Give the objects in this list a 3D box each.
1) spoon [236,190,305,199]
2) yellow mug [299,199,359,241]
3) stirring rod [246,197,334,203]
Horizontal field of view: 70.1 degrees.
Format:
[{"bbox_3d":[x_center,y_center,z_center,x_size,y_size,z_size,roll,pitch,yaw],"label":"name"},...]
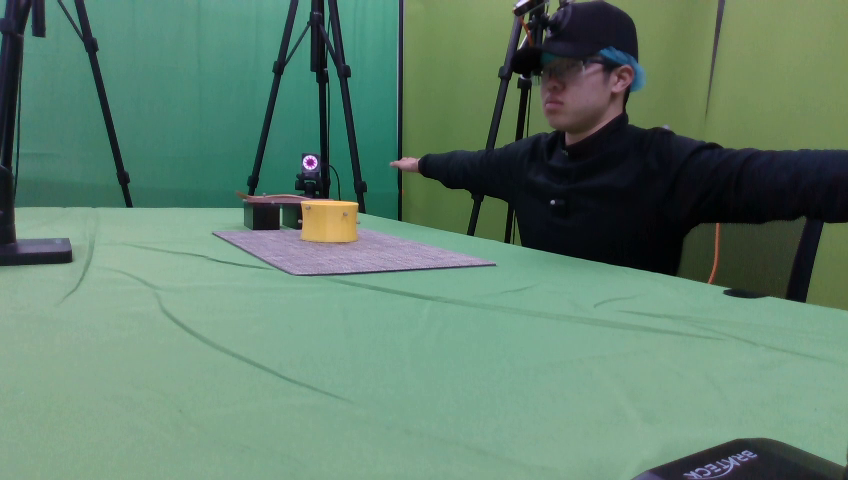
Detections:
[{"bbox_3d":[-0.290,-0.088,1.248,0.195,0.021,0.041,0,6,-32],"label":"spoon"},{"bbox_3d":[-0.157,-0.036,1.060,0.099,0.064,0.131,6,7,27],"label":"yellow mug"},{"bbox_3d":[-0.263,-0.079,1.200,0.177,0.006,0.014,-2,46,-29],"label":"stirring rod"}]
